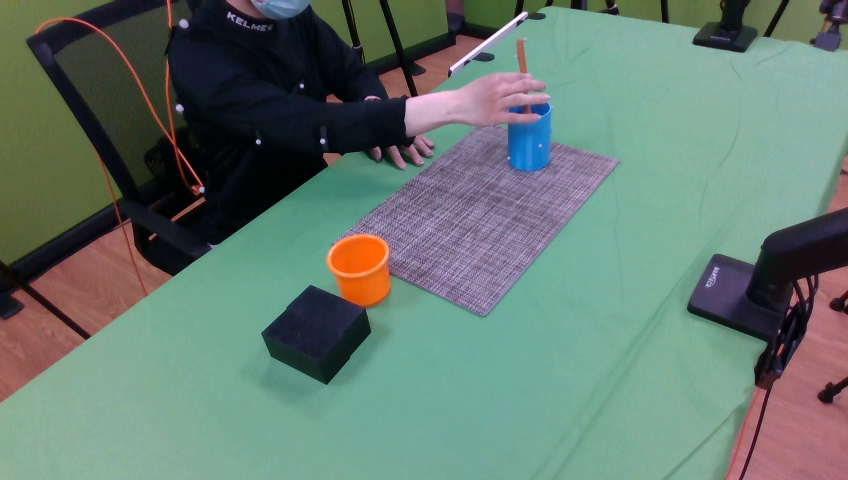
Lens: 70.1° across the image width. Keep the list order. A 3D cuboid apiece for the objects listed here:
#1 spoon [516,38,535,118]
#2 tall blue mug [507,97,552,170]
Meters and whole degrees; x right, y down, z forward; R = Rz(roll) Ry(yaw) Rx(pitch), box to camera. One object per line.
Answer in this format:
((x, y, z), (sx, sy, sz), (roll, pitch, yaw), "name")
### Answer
((0.177, -0.258, 1.056), (0.041, 0.194, 0.022), (9, 40, 30), "spoon")
((0.179, -0.198, 1.101), (0.078, 0.108, 0.106), (-36, 49, -28), "tall blue mug")
